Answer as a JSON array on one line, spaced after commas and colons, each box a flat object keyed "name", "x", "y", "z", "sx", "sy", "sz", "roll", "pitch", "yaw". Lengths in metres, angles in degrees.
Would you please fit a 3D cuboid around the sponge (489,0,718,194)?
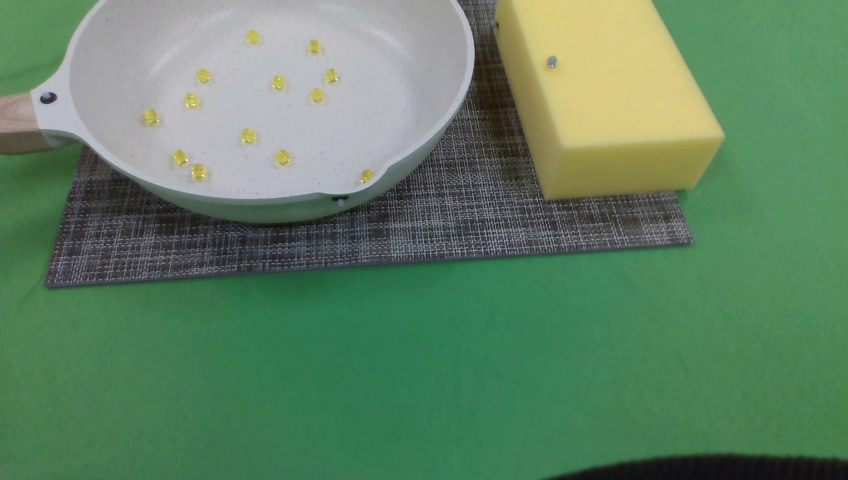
[{"name": "sponge", "x": 0.133, "y": -0.138, "z": 0.491, "sx": 0.118, "sy": 0.061, "sz": 0.204, "roll": -6, "pitch": 57, "yaw": -7}]

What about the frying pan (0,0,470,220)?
[{"name": "frying pan", "x": -0.204, "y": -0.102, "z": 0.425, "sx": 0.489, "sy": 0.103, "sz": 0.303, "roll": -17, "pitch": 58, "yaw": -23}]
